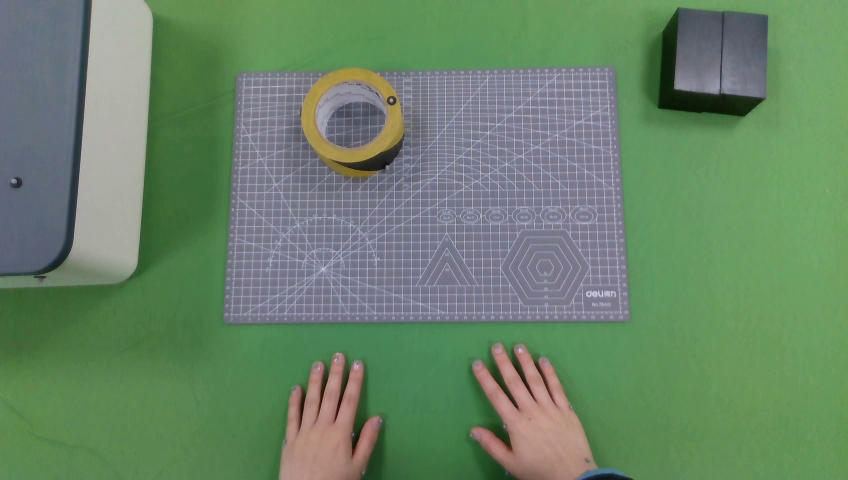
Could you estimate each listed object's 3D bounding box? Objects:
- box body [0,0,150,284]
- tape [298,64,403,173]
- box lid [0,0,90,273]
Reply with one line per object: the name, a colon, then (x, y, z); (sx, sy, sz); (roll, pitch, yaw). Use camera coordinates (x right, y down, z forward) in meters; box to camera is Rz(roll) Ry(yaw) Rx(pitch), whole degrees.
box body: (-0.448, -0.134, 0.642); (0.254, 0.161, 0.362); (-2, 80, 1)
tape: (-0.081, -0.136, 0.686); (0.117, 0.053, 0.116); (0, 80, 2)
box lid: (-0.450, -0.151, 0.569); (0.263, 0.015, 0.370); (-2, 81, 1)
